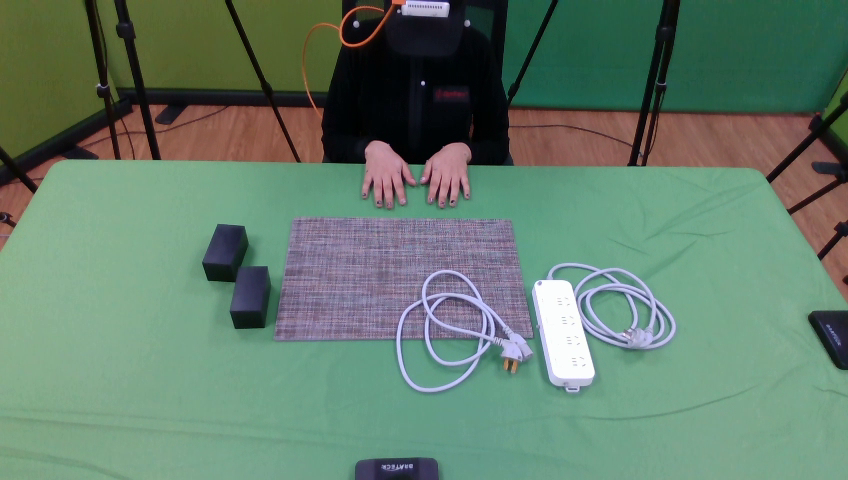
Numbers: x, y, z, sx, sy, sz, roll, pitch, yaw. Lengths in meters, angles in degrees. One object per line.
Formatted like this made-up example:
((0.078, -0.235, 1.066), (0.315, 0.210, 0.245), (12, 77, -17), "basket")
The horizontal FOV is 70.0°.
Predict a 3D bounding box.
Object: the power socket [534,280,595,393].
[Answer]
((0.241, 0.158, 1.055), (0.072, 0.033, 0.225), (1, 46, -3), "power socket")

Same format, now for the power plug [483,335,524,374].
((0.132, 0.193, 1.019), (0.072, 0.035, 0.052), (7, 68, 25), "power plug")
